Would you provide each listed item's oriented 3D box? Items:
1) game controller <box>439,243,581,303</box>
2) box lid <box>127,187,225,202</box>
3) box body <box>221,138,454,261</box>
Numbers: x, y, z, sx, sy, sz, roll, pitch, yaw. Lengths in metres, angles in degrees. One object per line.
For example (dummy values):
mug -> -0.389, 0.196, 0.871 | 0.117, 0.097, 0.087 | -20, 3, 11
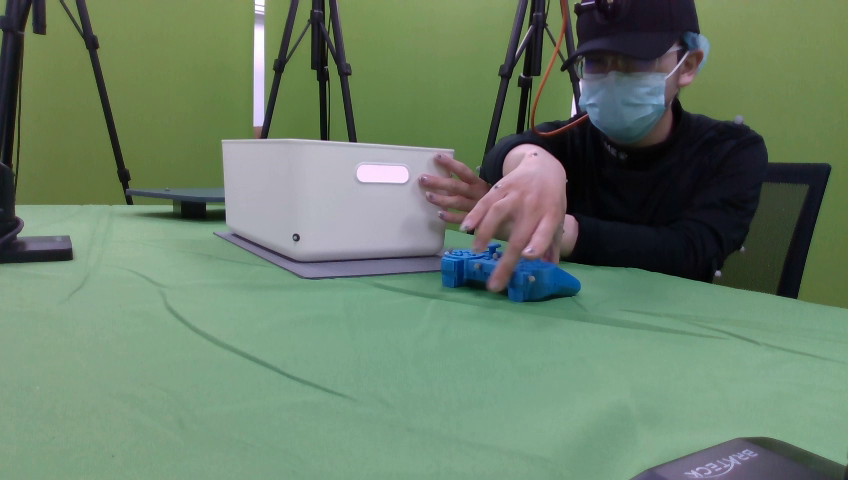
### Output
game controller -> 0.090, 0.033, 0.686 | 0.154, 0.051, 0.097 | 8, 13, 42
box lid -> -0.449, -0.106, 1.393 | 0.262, 0.015, 0.373 | 6, 8, 28
box body -> -0.152, -0.074, 0.963 | 0.255, 0.160, 0.362 | -3, 9, -33
